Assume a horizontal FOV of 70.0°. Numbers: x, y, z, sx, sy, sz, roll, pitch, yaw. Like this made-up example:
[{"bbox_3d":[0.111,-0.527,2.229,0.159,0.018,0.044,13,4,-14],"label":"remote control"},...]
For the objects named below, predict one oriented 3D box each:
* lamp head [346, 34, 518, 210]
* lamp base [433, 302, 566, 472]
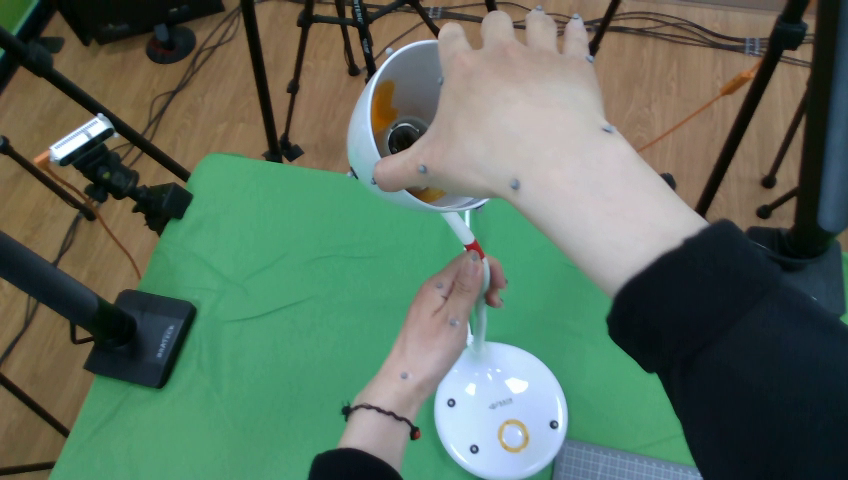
[{"bbox_3d":[-0.005,-0.073,0.443,0.113,0.122,0.112,3,83,-20],"label":"lamp head"},{"bbox_3d":[0.079,0.152,0.673,0.161,0.182,0.177,-27,61,-9],"label":"lamp base"}]
